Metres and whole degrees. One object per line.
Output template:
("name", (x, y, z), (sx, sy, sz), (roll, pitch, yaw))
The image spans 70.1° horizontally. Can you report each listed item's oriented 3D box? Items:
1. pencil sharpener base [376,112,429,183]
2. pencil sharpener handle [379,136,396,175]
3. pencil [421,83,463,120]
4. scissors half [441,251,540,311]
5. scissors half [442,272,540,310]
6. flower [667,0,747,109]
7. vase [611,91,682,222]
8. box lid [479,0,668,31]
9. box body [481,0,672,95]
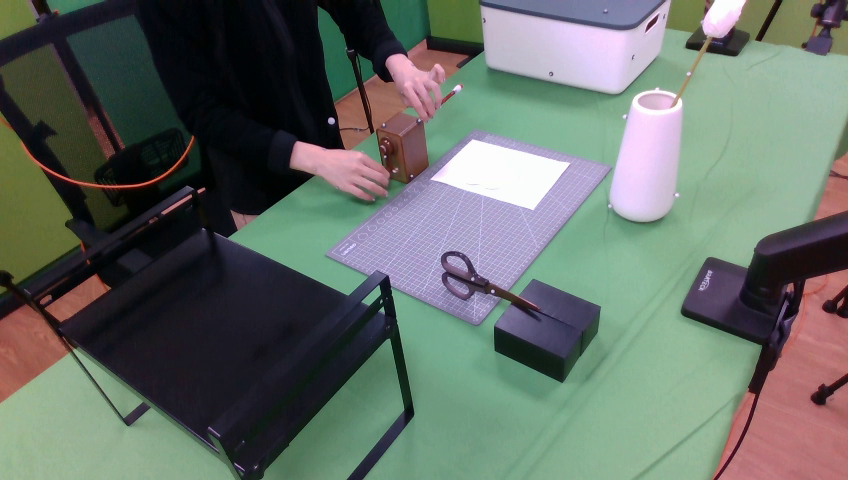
("pencil sharpener base", (-0.040, -0.169, 1.114), (0.061, 0.107, 0.077), (22, 49, 29))
("pencil sharpener handle", (-0.071, -0.149, 1.077), (0.035, 0.068, 0.031), (22, 49, 29))
("pencil", (0.020, -0.251, 1.158), (0.012, 0.012, 0.194), (22, 52, 30))
("scissors half", (0.087, 0.056, 0.824), (0.013, 0.040, 0.173), (-30, 44, -35))
("scissors half", (0.089, 0.074, 0.832), (0.013, 0.040, 0.173), (-24, 23, -38))
("flower", (0.354, -0.187, 0.879), (0.038, 0.362, 0.044), (31, 48, 14))
("vase", (0.348, -0.125, 0.935), (0.098, 0.201, 0.097), (-3, 40, 3))
("box lid", (0.335, -0.536, 1.331), (0.368, 0.015, 0.264), (23, 49, 30))
("box body", (0.341, -0.480, 1.381), (0.361, 0.161, 0.255), (22, 48, 30))
